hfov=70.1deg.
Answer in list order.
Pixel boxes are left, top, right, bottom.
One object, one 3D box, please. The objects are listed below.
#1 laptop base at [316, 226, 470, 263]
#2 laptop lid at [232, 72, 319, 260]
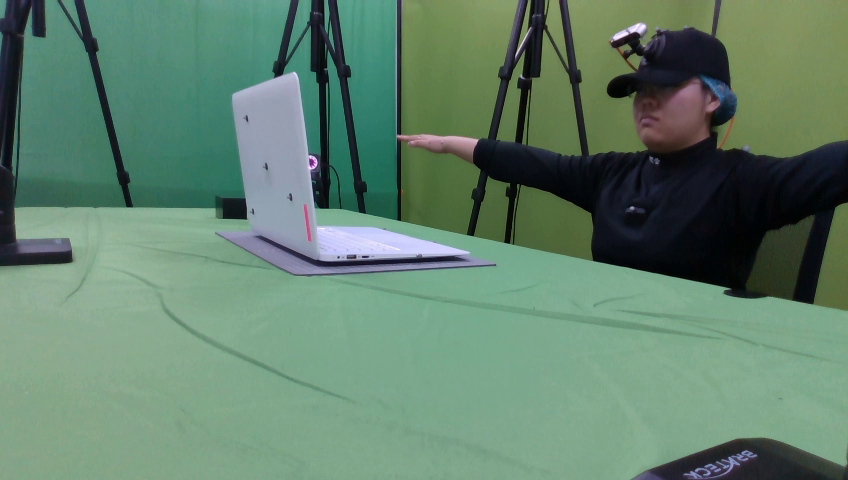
[{"bbox_3d":[-0.116,0.005,0.971,0.237,0.023,0.352,2,6,-30],"label":"laptop base"},{"bbox_3d":[-0.229,-0.109,0.888,0.013,0.241,0.355,-10,14,-28],"label":"laptop lid"}]
